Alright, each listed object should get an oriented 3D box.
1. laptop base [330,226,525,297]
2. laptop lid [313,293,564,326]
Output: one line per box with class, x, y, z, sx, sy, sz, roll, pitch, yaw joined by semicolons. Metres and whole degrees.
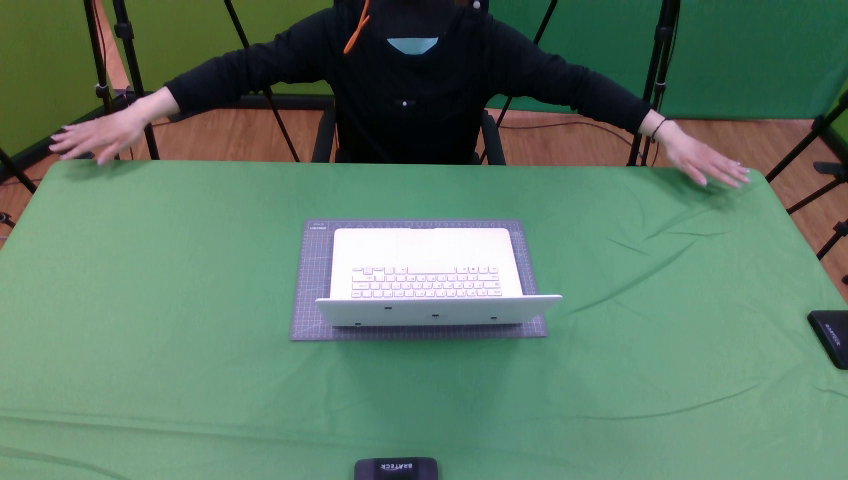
laptop base;0.005;0.061;1.137;0.355;0.023;0.234;0;43;-4
laptop lid;0.017;0.112;0.945;0.357;0.242;0.013;0;74;-5
